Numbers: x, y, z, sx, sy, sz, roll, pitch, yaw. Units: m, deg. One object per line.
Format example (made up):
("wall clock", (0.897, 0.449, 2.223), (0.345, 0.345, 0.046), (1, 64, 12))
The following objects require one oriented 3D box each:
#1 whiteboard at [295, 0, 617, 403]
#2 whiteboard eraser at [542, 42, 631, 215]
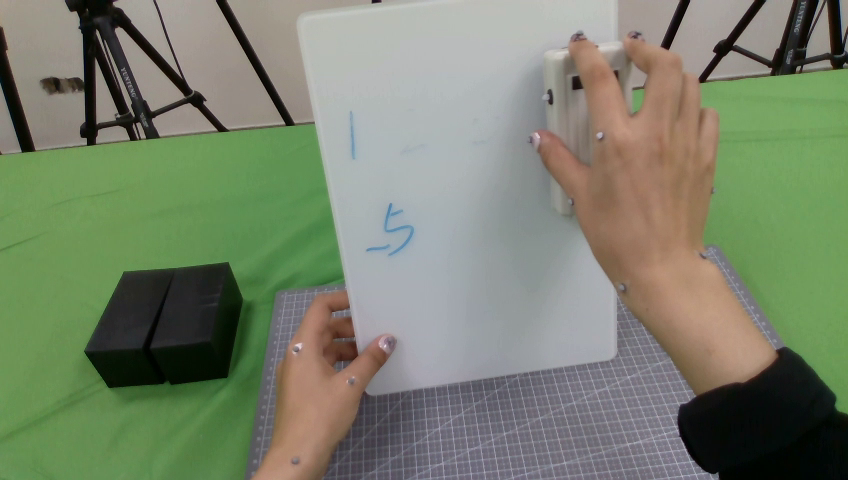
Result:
("whiteboard", (0.035, -0.045, 0.516), (0.217, 0.307, 0.143), (-8, 21, -2))
("whiteboard eraser", (0.113, -0.076, 0.421), (0.055, 0.113, 0.041), (-10, 21, -4))
